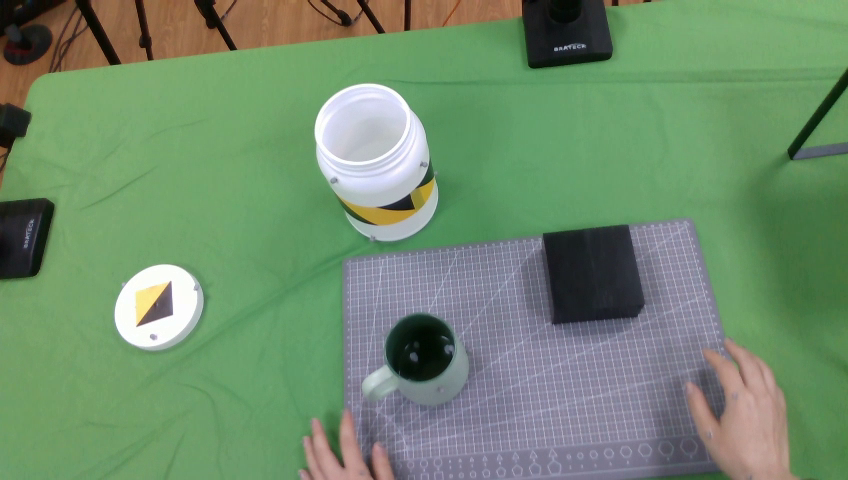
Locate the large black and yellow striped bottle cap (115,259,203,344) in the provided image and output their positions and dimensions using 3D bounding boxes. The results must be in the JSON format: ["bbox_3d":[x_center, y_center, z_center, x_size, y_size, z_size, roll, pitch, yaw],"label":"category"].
[{"bbox_3d":[-0.351,0.080,0.801,0.115,0.019,0.114,-3,66,7],"label":"large black and yellow striped bottle cap"}]

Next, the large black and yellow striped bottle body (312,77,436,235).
[{"bbox_3d":[-0.058,-0.099,0.746,0.130,0.185,0.130,-3,66,7],"label":"large black and yellow striped bottle body"}]

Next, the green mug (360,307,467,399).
[{"bbox_3d":[-0.014,0.136,0.681,0.125,0.106,0.091,-31,67,-6],"label":"green mug"}]
